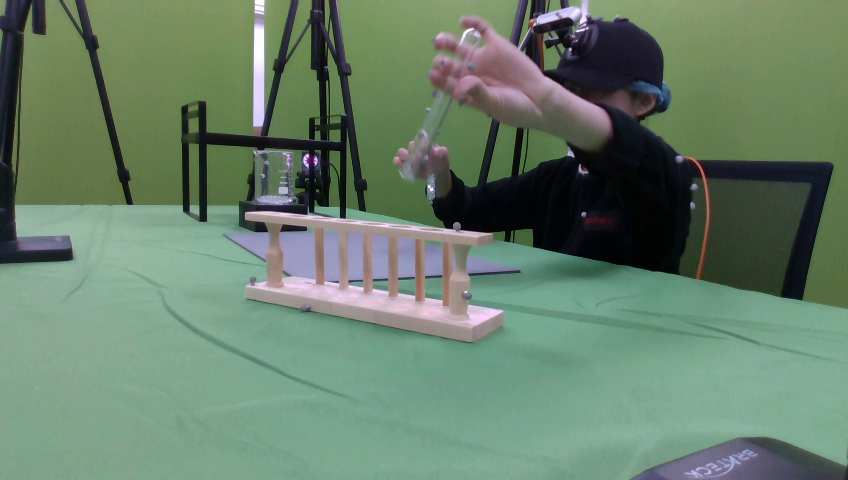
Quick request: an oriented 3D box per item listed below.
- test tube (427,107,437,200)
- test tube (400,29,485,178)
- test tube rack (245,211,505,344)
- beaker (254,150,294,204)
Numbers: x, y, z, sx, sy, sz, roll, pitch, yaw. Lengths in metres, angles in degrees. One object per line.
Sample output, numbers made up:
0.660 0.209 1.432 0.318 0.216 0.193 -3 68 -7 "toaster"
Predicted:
0.012 -0.139 0.978 0.017 0.150 0.017 0 12 0 "test tube"
0.016 -0.125 0.564 0.017 0.150 0.017 26 18 -9 "test tube"
-0.049 0.024 0.547 0.241 0.085 0.067 7 8 29 "test tube rack"
-0.289 -0.120 1.151 0.073 0.100 0.084 7 9 33 "beaker"
